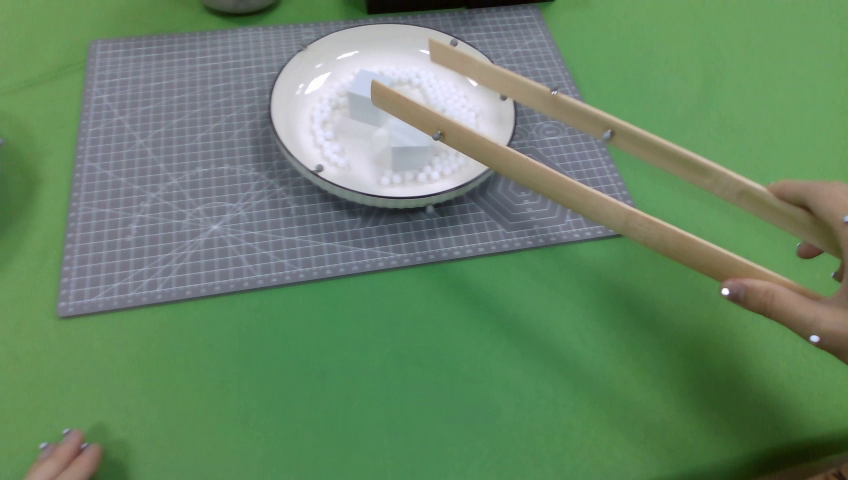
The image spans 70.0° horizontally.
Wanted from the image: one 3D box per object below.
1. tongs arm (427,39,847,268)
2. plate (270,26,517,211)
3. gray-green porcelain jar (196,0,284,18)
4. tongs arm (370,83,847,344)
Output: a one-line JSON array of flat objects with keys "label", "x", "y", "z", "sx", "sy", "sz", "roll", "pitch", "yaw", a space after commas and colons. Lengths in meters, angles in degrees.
[{"label": "tongs arm", "x": 0.145, "y": -0.053, "z": 0.423, "sx": 0.382, "sy": 0.027, "sz": 0.050, "roll": 30, "pitch": 58, "yaw": 21}, {"label": "plate", "x": -0.026, "y": -0.105, "z": 0.525, "sx": 0.209, "sy": 0.038, "sz": 0.207, "roll": 2, "pitch": 56, "yaw": -3}, {"label": "gray-green porcelain jar", "x": -0.187, "y": -0.292, "z": 0.588, "sx": 0.106, "sy": 0.127, "sz": 0.105, "roll": 2, "pitch": 56, "yaw": -2}, {"label": "tongs arm", "x": 0.119, "y": -0.026, "z": 0.403, "sx": 0.385, "sy": 0.028, "sz": 0.028, "roll": 29, "pitch": 54, "yaw": 20}]
